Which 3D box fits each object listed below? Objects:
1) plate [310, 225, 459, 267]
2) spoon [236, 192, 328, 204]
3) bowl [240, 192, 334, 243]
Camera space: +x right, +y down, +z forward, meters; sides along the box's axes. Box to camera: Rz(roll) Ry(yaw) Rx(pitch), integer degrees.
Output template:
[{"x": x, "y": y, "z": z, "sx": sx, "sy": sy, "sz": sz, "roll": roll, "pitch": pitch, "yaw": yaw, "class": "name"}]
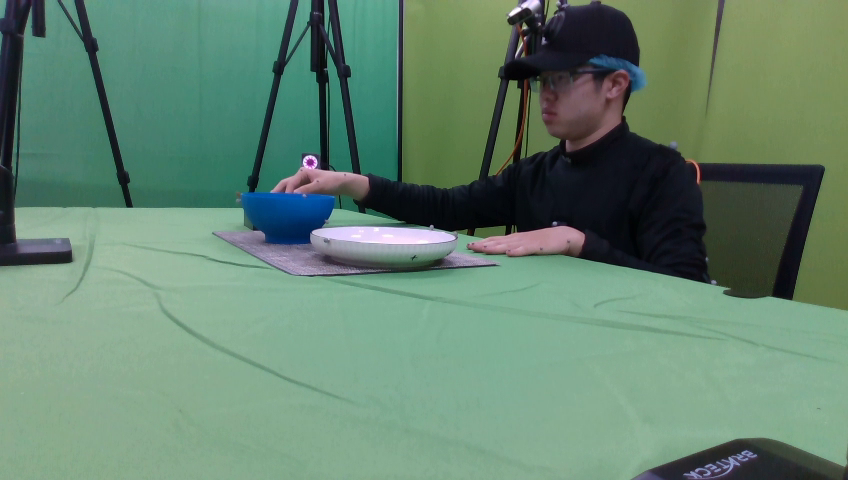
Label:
[{"x": -0.055, "y": 0.008, "z": 0.851, "sx": 0.208, "sy": 0.039, "sz": 0.207, "roll": 2, "pitch": 7, "yaw": 0, "class": "plate"}, {"x": -0.283, "y": -0.085, "z": 1.222, "sx": 0.195, "sy": 0.021, "sz": 0.041, "roll": -1, "pitch": 7, "yaw": -35, "class": "spoon"}, {"x": -0.223, "y": -0.037, "z": 0.992, "sx": 0.151, "sy": 0.077, "sz": 0.151, "roll": 2, "pitch": 7, "yaw": 0, "class": "bowl"}]
